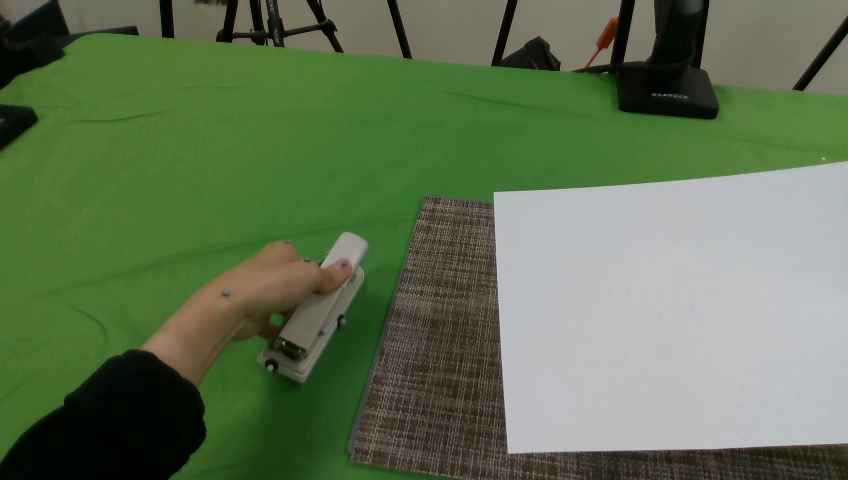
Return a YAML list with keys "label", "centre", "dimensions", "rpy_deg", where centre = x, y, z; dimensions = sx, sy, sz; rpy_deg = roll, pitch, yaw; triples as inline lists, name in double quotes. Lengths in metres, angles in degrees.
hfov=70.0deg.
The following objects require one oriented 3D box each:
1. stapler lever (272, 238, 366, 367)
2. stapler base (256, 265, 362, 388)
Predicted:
- label: "stapler lever"
  centre: [-0.079, 0.044, 0.479]
  dimensions: [0.027, 0.040, 0.117]
  rpy_deg: [26, 43, 1]
- label: "stapler base"
  centre: [-0.087, 0.059, 0.497]
  dimensions: [0.041, 0.024, 0.130]
  rpy_deg: [26, 44, 0]
